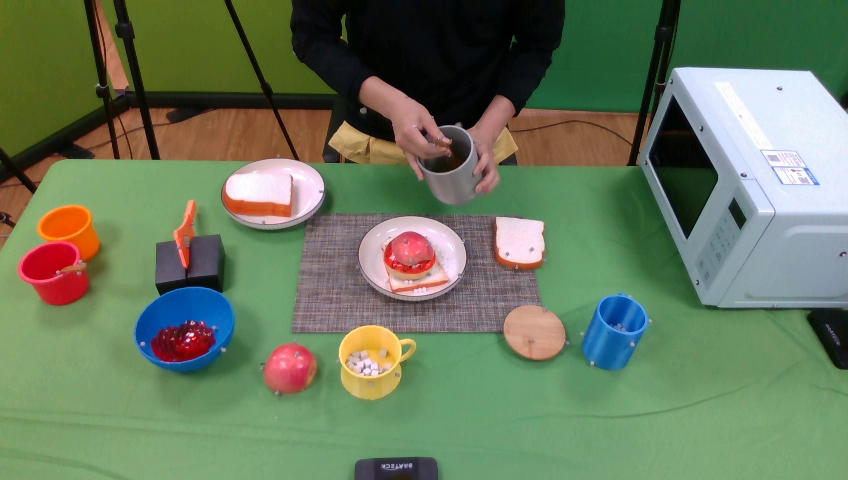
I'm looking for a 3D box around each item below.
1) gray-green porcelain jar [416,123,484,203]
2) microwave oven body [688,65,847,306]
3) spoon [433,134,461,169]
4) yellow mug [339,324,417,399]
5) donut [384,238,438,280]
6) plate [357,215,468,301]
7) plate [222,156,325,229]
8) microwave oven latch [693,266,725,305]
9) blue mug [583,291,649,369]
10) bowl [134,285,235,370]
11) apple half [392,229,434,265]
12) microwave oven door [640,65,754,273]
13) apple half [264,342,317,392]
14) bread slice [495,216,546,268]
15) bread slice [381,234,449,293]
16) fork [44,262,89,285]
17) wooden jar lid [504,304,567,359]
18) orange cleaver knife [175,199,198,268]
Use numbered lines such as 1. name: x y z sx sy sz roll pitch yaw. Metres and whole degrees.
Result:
1. gray-green porcelain jar: 0.052 -0.135 1.111 0.106 0.127 0.105 -7 63 14
2. microwave oven body: 0.669 -0.111 1.176 0.326 0.261 0.439 0 46 -3
3. spoon: 0.044 -0.153 1.072 0.041 0.194 0.021 13 80 19
4. yellow mug: -0.072 0.190 0.978 0.131 0.064 0.099 -17 50 -20
5. donut: -0.025 0.030 1.109 0.099 0.048 0.098 2 46 -2
6. plate: -0.022 0.037 1.141 0.208 0.039 0.206 2 46 -2
7. plate: -0.308 -0.095 1.251 0.209 0.038 0.208 2 47 -2
8. microwave oven latch: 0.523 0.081 1.115 0.030 0.029 0.078 3 46 0
9. blue mug: 0.324 0.142 1.023 0.082 0.106 0.116 15 47 11
10. bowl: -0.377 0.155 0.981 0.151 0.077 0.150 2 46 -2
11. apple half: -0.020 0.005 1.083 0.081 0.033 0.081 7 48 -7
12. microwave oven door: 0.523 -0.147 1.193 0.039 0.245 0.353 0 47 -3
13. apple half: -0.214 0.198 0.970 0.074 0.053 0.080 19 47 11
14. bread slice: 0.194 0.002 1.204 0.105 0.019 0.131 5 45 2
15. bread slice: -0.026 0.040 1.141 0.107 0.018 0.133 -12 50 -16
16. fork: -0.598 0.054 1.014 0.207 0.019 0.028 -15 29 45
17. wooden jar lid: 0.192 0.161 1.051 0.108 0.021 0.107 2 50 -3
18. orange cleaver knife: -0.438 -0.017 1.138 0.012 0.077 0.210 -13 27 -7
